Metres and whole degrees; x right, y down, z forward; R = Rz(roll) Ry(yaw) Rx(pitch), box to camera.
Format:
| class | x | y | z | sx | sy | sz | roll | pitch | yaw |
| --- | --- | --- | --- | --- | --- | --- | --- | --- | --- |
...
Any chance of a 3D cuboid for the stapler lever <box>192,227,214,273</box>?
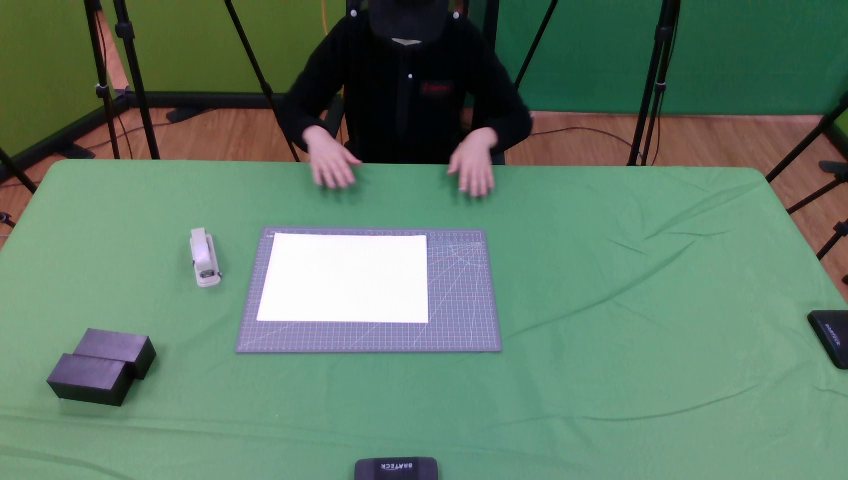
| class | x | y | z | sx | sy | sz | roll | pitch | yaw |
| --- | --- | --- | --- | --- | --- | --- | --- | --- | --- |
| stapler lever | -0.410 | 0.013 | 1.118 | 0.027 | 0.040 | 0.117 | -13 | 48 | -18 |

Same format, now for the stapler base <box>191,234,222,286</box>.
| class | x | y | z | sx | sy | sz | roll | pitch | yaw |
| --- | --- | --- | --- | --- | --- | --- | --- | --- | --- |
| stapler base | -0.410 | 0.031 | 1.135 | 0.041 | 0.024 | 0.129 | -13 | 47 | -19 |
